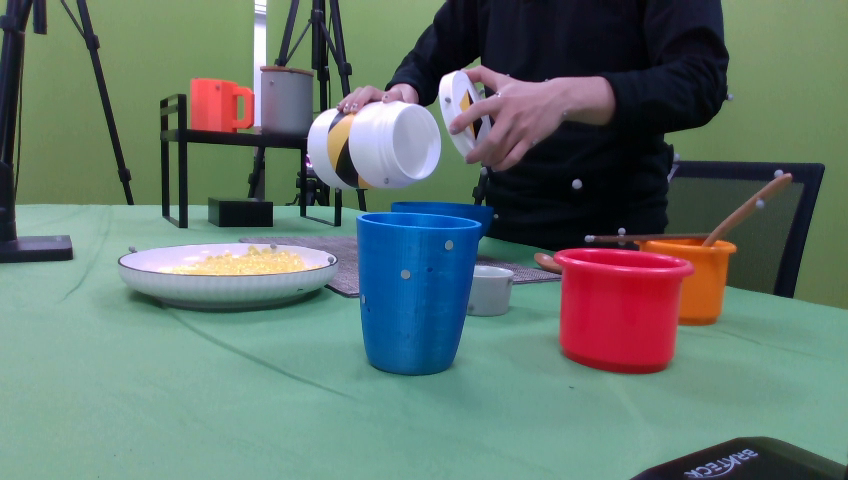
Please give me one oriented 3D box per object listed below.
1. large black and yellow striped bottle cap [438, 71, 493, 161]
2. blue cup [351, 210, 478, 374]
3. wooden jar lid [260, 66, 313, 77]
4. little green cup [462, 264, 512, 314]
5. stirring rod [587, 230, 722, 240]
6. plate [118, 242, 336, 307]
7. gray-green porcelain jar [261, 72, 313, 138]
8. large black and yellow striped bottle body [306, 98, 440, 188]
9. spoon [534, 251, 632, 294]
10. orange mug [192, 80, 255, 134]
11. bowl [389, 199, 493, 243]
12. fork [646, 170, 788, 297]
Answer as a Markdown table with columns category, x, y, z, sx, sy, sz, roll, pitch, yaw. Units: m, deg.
| category | x | y | z | sx | sy | sz | roll | pitch | yaw |
| --- | --- | --- | --- | --- | --- | --- | --- | --- | --- |
| large black and yellow striped bottle cap | 0.055 | -0.159 | 0.774 | 0.018 | 0.115 | 0.115 | -17 | -3 | 29 |
| blue cup | -0.009 | 0.034 | 0.414 | 0.093 | 0.100 | 0.092 | 4 | 8 | 0 |
| wooden jar lid | -0.283 | -0.339 | 1.244 | 0.108 | 0.020 | 0.108 | 5 | 8 | 0 |
| little green cup | 0.053 | 0.047 | 0.580 | 0.061 | 0.038 | 0.061 | 3 | 8 | 0 |
| stirring rod | 0.227 | -0.006 | 0.585 | 0.177 | 0.006 | 0.014 | -2 | 7 | -28 |
| plate | -0.194 | 0.033 | 0.615 | 0.209 | 0.038 | 0.209 | 2 | 7 | 0 |
| gray-green porcelain jar | -0.284 | -0.276 | 1.253 | 0.106 | 0.126 | 0.106 | 2 | 8 | 0 |
| large black and yellow striped bottle body | -0.078 | -0.147 | 0.935 | 0.183 | 0.130 | 0.131 | 3 | 6 | 42 |
| spoon | 0.193 | 0.038 | 0.753 | 0.042 | 0.021 | 0.193 | 14 | 2 | -21 |
| orange mug | -0.389 | -0.257 | 1.173 | 0.126 | 0.100 | 0.083 | -1 | 7 | 9 |
| bowl | 0.023 | -0.016 | 0.872 | 0.151 | 0.077 | 0.151 | 3 | 7 | 0 |
| fork | 0.256 | 0.004 | 0.543 | 0.028 | 0.018 | 0.207 | 3 | -36 | -10 |
